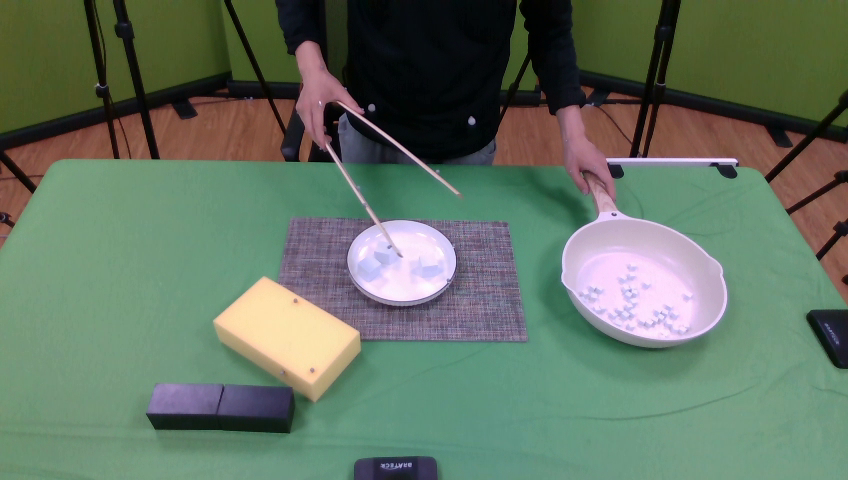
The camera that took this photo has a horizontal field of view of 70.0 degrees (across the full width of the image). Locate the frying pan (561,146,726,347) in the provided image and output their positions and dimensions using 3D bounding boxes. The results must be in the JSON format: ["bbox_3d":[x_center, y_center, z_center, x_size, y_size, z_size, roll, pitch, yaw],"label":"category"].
[{"bbox_3d":[0.378,-0.005,1.175,0.307,0.103,0.484,-4,55,-9],"label":"frying pan"}]

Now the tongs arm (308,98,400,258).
[{"bbox_3d":[-0.126,-0.123,1.101,0.051,0.027,0.382,-40,61,7],"label":"tongs arm"}]

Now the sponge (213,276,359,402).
[{"bbox_3d":[-0.225,0.158,0.998,0.206,0.061,0.118,27,52,18],"label":"sponge"}]

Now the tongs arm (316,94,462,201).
[{"bbox_3d":[-0.070,-0.175,1.096,0.385,0.028,0.028,40,95,29],"label":"tongs arm"}]

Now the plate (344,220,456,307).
[{"bbox_3d":[-0.044,0.047,1.133,0.208,0.039,0.206,3,46,-2],"label":"plate"}]
